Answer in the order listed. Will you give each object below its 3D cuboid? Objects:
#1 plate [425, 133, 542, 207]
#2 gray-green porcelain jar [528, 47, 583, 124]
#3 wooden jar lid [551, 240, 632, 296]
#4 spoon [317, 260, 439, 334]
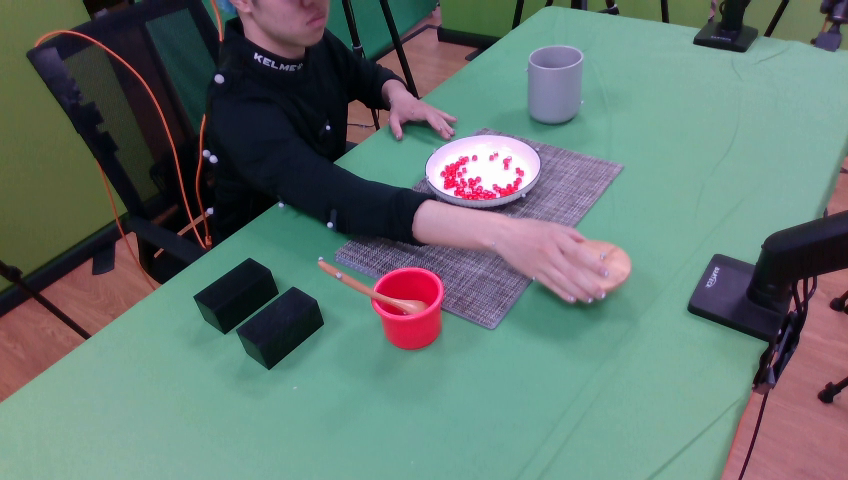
[{"bbox_3d":[0.106,-0.122,1.079,0.207,0.039,0.206,-4,41,4],"label":"plate"},{"bbox_3d":[0.260,-0.304,1.207,0.106,0.127,0.105,-4,41,4],"label":"gray-green porcelain jar"},{"bbox_3d":[0.231,0.040,0.838,0.108,0.021,0.108,-7,37,6],"label":"wooden jar lid"},{"bbox_3d":[-0.056,0.074,0.789,0.195,0.021,0.041,27,42,-21],"label":"spoon"}]
